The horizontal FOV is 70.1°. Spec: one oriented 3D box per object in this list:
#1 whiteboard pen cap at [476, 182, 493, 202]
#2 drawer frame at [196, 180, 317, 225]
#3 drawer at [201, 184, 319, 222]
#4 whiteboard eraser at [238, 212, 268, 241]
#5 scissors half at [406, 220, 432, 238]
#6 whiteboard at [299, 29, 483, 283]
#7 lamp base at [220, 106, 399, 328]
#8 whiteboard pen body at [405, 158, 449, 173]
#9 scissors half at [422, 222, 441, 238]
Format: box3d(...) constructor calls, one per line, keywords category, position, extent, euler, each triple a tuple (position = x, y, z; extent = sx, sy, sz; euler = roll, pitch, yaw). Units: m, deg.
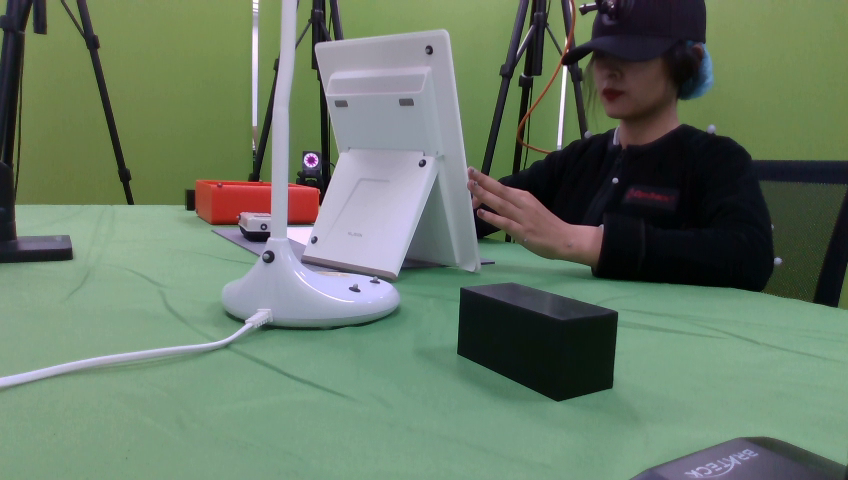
box3d(category="whiteboard pen cap", position=(0.079, -0.065, 0.806), extent=(0.018, 0.018, 0.033), euler=(1, 33, -14))
box3d(category="drawer frame", position=(-0.359, -0.083, 1.292), extent=(0.215, 0.082, 0.200), euler=(-2, 10, -30))
box3d(category="drawer", position=(-0.353, -0.082, 1.295), extent=(0.213, 0.073, 0.193), euler=(-2, 10, -28))
box3d(category="whiteboard eraser", position=(-0.272, -0.023, 0.998), extent=(0.056, 0.042, 0.112), euler=(-2, 9, -24))
box3d(category="scissors half", position=(-0.006, -0.022, 1.215), extent=(0.040, 0.013, 0.174), euler=(6, 10, -15))
box3d(category="whiteboard", position=(-0.074, -0.082, 0.742), extent=(0.216, 0.305, 0.144), euler=(9, 29, 38))
box3d(category="lamp base", position=(-0.102, -0.023, 0.531), extent=(0.160, 0.180, 0.179), euler=(4, 10, 10))
box3d(category="whiteboard pen body", position=(0.004, -0.105, 0.852), extent=(0.017, 0.017, 0.141), euler=(6, 12, 23))
box3d(category="scissors half", position=(0.013, -0.018, 1.217), extent=(0.040, 0.013, 0.175), euler=(14, 9, 1))
